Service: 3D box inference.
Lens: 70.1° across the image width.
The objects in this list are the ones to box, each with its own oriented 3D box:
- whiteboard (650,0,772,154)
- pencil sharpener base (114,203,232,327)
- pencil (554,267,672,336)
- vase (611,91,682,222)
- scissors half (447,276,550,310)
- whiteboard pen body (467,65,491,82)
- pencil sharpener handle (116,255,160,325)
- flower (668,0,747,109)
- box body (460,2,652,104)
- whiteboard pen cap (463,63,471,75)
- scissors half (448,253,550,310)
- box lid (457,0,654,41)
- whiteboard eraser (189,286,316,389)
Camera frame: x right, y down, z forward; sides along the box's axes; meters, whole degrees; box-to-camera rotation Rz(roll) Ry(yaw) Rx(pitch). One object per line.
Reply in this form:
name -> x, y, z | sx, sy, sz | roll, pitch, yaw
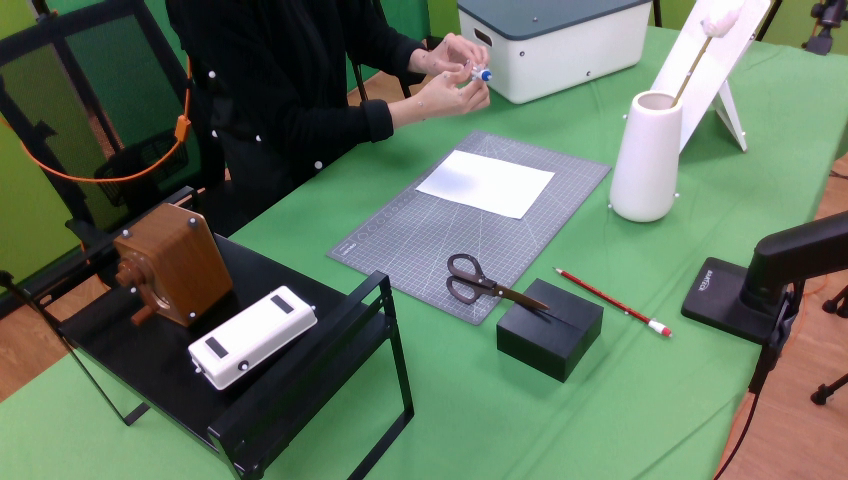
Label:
whiteboard -> 0.543, -0.298, 1.076 | 0.144, 0.305, 0.216 | 12, 40, -7
pencil sharpener base -> -0.262, 0.029, 0.635 | 0.061, 0.107, 0.077 | 18, 47, 26
pencil -> 0.260, 0.082, 0.850 | 0.012, 0.012, 0.192 | -33, 46, -27
vase -> 0.348, -0.125, 0.935 | 0.098, 0.201, 0.097 | -3, 40, 3
scissors half -> 0.098, 0.077, 0.827 | 0.174, 0.040, 0.013 | 6, 14, 45
whiteboard pen body -> 0.085, -0.267, 0.959 | 0.017, 0.017, 0.140 | -11, 22, -4
pencil sharpener handle -> -0.286, 0.050, 0.594 | 0.035, 0.068, 0.031 | 7, 41, 35
flower -> 0.354, -0.187, 0.879 | 0.038, 0.362, 0.044 | 31, 48, 15
box body -> 0.291, -0.465, 1.371 | 0.365, 0.161, 0.252 | -22, 42, -16
whiteboard pen cap -> 0.076, -0.287, 1.013 | 0.018, 0.018, 0.033 | -10, 25, -4
scissors half -> 0.098, 0.058, 0.821 | 0.173, 0.040, 0.013 | 27, 33, 37
box lid -> 0.285, -0.522, 1.323 | 0.373, 0.015, 0.261 | -22, 43, -16
whiteboard eraser -> -0.166, 0.096, 0.593 | 0.113, 0.042, 0.055 | -36, 46, -29
